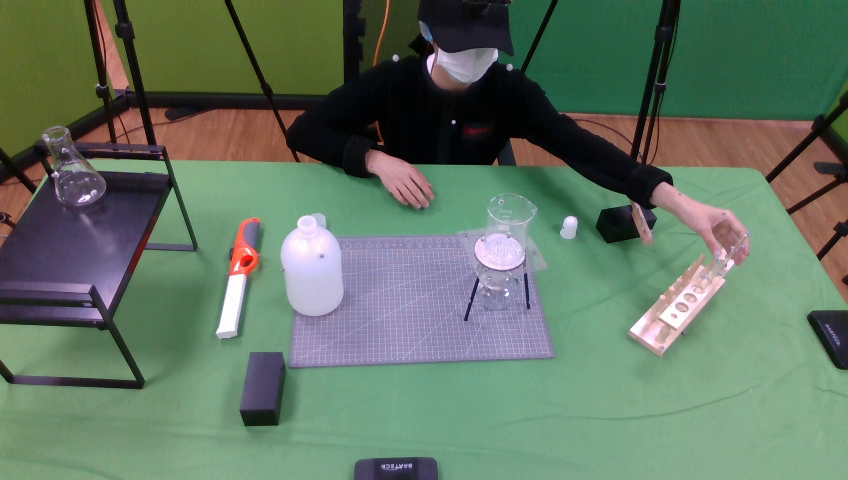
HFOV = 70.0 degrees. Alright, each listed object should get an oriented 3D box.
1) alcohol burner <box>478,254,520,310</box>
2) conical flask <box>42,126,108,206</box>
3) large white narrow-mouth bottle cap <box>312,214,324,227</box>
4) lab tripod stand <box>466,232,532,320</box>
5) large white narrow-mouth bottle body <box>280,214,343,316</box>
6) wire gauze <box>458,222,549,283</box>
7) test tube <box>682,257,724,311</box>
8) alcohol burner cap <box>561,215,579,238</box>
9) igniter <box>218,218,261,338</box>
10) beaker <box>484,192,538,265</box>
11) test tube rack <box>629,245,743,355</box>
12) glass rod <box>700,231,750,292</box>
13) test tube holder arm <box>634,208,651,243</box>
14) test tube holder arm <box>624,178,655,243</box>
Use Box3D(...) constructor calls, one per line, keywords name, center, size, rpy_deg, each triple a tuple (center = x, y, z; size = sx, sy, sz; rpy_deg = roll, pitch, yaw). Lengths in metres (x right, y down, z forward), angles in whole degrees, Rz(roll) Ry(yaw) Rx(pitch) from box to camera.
Box3D(name="alcohol burner", center=(0.134, 0.068, 1.071), size=(0.078, 0.120, 0.077), rpy_deg=(0, 47, 0))
Box3D(name="conical flask", center=(-0.555, -0.119, 0.953), size=(0.075, 0.122, 0.075), rpy_deg=(2, 46, -2))
Box3D(name="large white narrow-mouth bottle cap", center=(-0.219, -0.033, 1.214), size=(0.038, 0.024, 0.037), rpy_deg=(2, 46, -2))
Box3D(name="lab tripod stand", center=(0.125, 0.059, 1.065), size=(0.148, 0.132, 0.147), rpy_deg=(1, 45, 0))
Box3D(name="large white narrow-mouth bottle body", center=(-0.190, 0.035, 1.025), size=(0.102, 0.195, 0.101), rpy_deg=(2, 46, -2))
Box3D(name="wire gauze", center=(0.131, 0.016, 1.017), size=(0.121, 0.011, 0.124), rpy_deg=(-10, 44, -15))
Box3D(name="test tube", center=(0.475, 0.080, 1.037), size=(0.017, 0.151, 0.017), rpy_deg=(2, 51, -2))
Box3D(name="alcohol burner cap", center=(0.299, -0.030, 1.231), size=(0.034, 0.048, 0.033), rpy_deg=(1, 47, -1))
Box3D(name="igniter", center=(-0.337, 0.060, 1.111), size=(0.057, 0.025, 0.274), rpy_deg=(-7, 46, 3))
Box3D(name="beaker", center=(0.137, -0.016, 0.980), size=(0.084, 0.101, 0.073), rpy_deg=(-6, 45, -9))
Box3D(name="test tube rack", center=(0.474, 0.095, 1.091), size=(0.242, 0.085, 0.066), rpy_deg=(-34, 57, -31))
Box3D(name="glass rod", center=(0.518, 0.044, 1.051), size=(0.008, 0.200, 0.008), rpy_deg=(0, 55, 0))
Box3D(name="test tube holder arm", center=(0.428, -0.030, 1.189), size=(0.010, 0.015, 0.087), rpy_deg=(1, 47, -2))
Box3D(name="test tube holder arm", center=(0.433, -0.063, 1.220), size=(0.013, 0.015, 0.177), rpy_deg=(0, 47, -3))
